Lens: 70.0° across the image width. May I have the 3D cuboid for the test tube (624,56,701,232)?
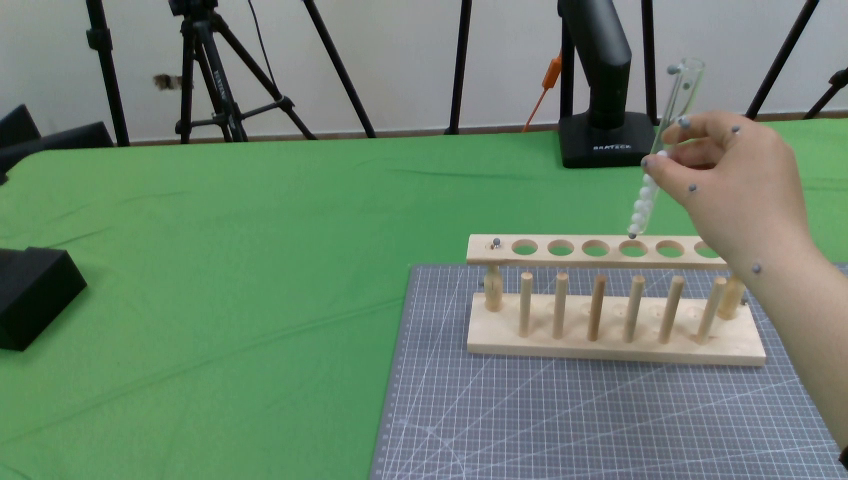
[{"bbox_3d":[0.169,-0.061,0.436,0.017,0.151,0.017,0,46,0],"label":"test tube"}]

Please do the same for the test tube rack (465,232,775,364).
[{"bbox_3d":[0.157,0.047,0.515,0.242,0.086,0.066,1,39,10],"label":"test tube rack"}]
